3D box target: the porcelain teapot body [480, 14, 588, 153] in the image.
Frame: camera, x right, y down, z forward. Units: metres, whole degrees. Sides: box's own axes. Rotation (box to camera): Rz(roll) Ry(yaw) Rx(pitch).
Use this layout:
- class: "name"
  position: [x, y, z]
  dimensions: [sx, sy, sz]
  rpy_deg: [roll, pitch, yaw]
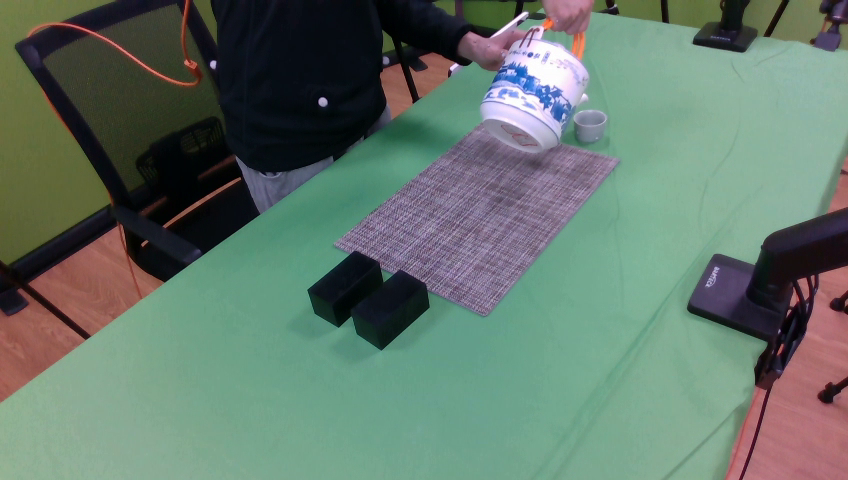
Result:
- class: "porcelain teapot body"
  position: [0.215, -0.259, 1.035]
  dimensions: [0.144, 0.207, 0.225]
  rpy_deg: [22, 82, 43]

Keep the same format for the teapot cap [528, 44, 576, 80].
- class: "teapot cap"
  position: [0.217, -0.305, 1.015]
  dimensions: [0.084, 0.086, 0.044]
  rpy_deg: [24, 81, 32]

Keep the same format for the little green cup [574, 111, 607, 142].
- class: "little green cup"
  position: [0.318, -0.218, 1.164]
  dimensions: [0.061, 0.039, 0.061]
  rpy_deg: [-3, 41, 3]
